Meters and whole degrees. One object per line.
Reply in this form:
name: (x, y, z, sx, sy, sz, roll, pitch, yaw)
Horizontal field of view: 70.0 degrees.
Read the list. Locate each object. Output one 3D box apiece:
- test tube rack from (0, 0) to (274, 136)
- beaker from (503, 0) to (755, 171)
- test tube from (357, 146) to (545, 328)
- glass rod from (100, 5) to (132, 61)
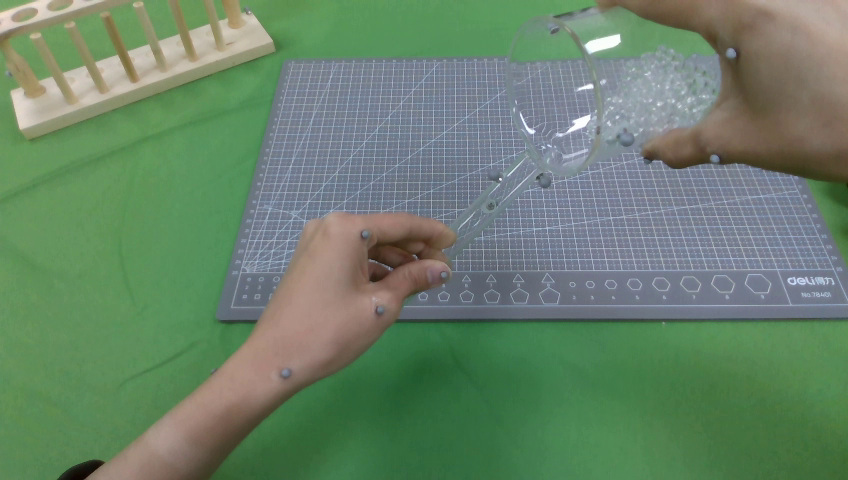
test tube rack: (-0.275, -0.191, 0.567, 0.242, 0.086, 0.066, -26, 56, -16)
beaker: (0.101, -0.082, 0.299, 0.100, 0.084, 0.073, -20, 57, -18)
test tube: (0.010, 0.003, 0.346, 0.150, 0.017, 0.017, -45, 50, 24)
glass rod: (-0.288, -0.231, 0.514, 0.008, 0.201, 0.008, 1, 55, -1)
